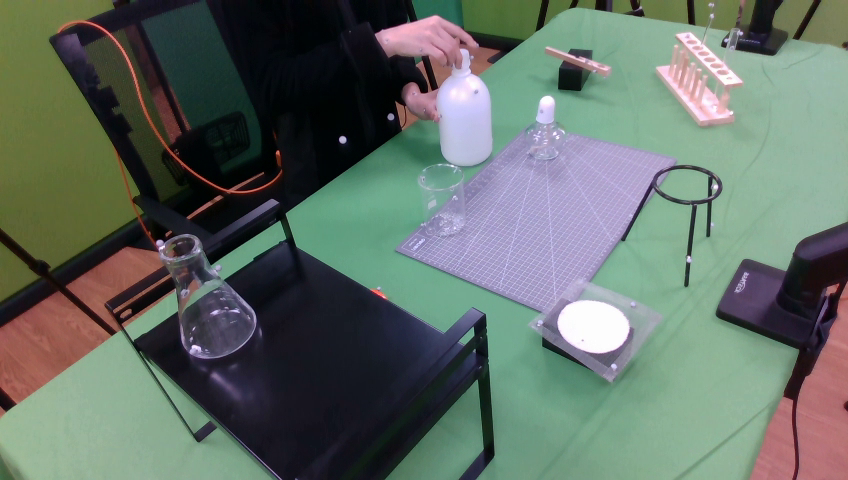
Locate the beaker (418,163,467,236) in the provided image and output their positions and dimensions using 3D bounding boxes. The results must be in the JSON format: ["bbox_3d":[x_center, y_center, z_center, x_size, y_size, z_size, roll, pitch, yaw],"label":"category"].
[{"bbox_3d":[0.035,-0.065,0.990,0.073,0.101,0.084,24,49,32],"label":"beaker"}]

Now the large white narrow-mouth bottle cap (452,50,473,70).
[{"bbox_3d":[0.067,-0.316,1.058,0.038,0.024,0.037,-4,40,4],"label":"large white narrow-mouth bottle cap"}]

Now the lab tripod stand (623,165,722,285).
[{"bbox_3d":[0.365,-0.030,0.875,0.148,0.132,0.147,-6,41,6],"label":"lab tripod stand"}]

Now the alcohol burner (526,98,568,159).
[{"bbox_3d":[0.228,-0.210,1.118,0.078,0.119,0.077,-5,43,5],"label":"alcohol burner"}]

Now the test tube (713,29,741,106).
[{"bbox_3d":[0.572,-0.324,1.146,0.017,0.151,0.017,-3,39,3],"label":"test tube"}]

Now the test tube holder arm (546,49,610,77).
[{"bbox_3d":[0.332,-0.387,1.315,0.013,0.015,0.177,-26,42,-27],"label":"test tube holder arm"}]

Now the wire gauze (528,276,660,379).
[{"bbox_3d":[0.213,0.103,0.763,0.124,0.011,0.122,30,52,35],"label":"wire gauze"}]

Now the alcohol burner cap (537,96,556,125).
[{"bbox_3d":[0.223,-0.237,1.095,0.034,0.048,0.033,-1,42,1],"label":"alcohol burner cap"}]

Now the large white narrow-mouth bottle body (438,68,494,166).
[{"bbox_3d":[0.077,-0.242,1.122,0.102,0.195,0.101,-4,40,4],"label":"large white narrow-mouth bottle body"}]

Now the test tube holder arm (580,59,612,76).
[{"bbox_3d":[0.363,-0.369,1.288,0.010,0.015,0.087,-28,43,-29],"label":"test tube holder arm"}]

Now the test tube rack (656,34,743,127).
[{"bbox_3d":[0.553,-0.331,1.233,0.067,0.085,0.241,-7,40,2],"label":"test tube rack"}]

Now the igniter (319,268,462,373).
[{"bbox_3d":[-0.059,0.107,0.862,0.274,0.025,0.057,28,62,34],"label":"igniter"}]

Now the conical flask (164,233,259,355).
[{"bbox_3d":[-0.216,0.051,0.601,0.075,0.122,0.075,-4,40,4],"label":"conical flask"}]

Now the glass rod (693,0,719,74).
[{"bbox_3d":[0.560,-0.401,1.214,0.008,0.200,0.008,-1,48,2],"label":"glass rod"}]
